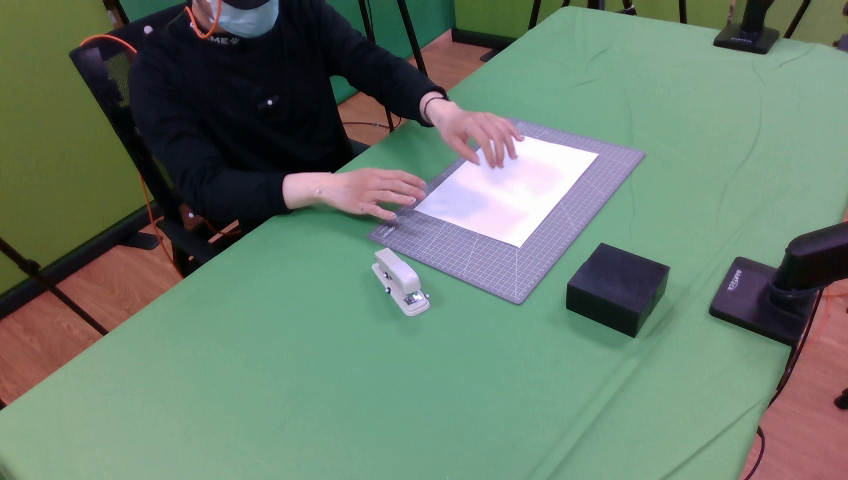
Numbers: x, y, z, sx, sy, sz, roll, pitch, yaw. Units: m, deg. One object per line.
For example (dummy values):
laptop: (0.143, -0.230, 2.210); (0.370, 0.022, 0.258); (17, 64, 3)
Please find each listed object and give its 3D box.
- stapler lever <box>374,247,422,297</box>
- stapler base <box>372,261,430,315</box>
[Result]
stapler lever: (-0.040, 0.041, 0.889); (0.027, 0.040, 0.117); (-21, 40, -20)
stapler base: (-0.037, 0.061, 0.904); (0.041, 0.024, 0.129); (-21, 41, -20)
